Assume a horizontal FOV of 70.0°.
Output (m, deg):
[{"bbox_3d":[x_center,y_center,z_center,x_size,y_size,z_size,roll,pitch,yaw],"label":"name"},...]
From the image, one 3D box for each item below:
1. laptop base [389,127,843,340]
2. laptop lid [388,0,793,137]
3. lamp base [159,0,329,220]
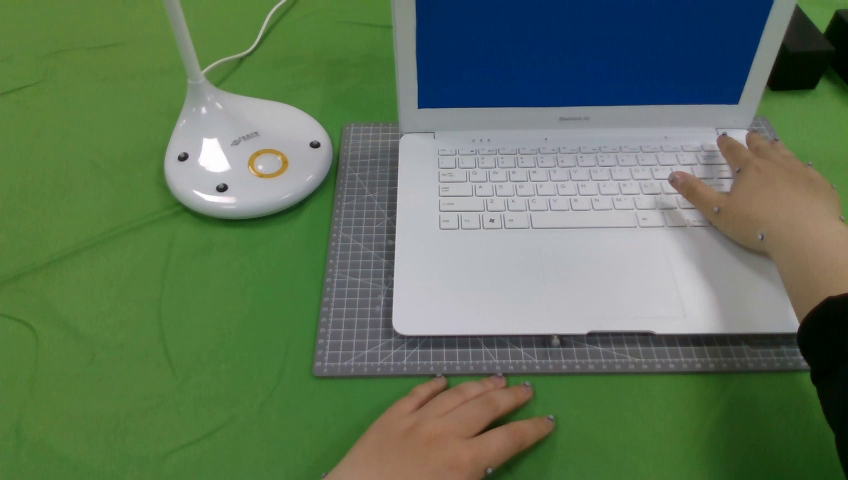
[{"bbox_3d":[0.148,-0.014,0.540,0.354,0.023,0.233,-1,53,0],"label":"laptop base"},{"bbox_3d":[0.145,-0.193,0.536,0.357,0.244,0.013,-2,42,1],"label":"laptop lid"},{"bbox_3d":[-0.185,-0.135,0.543,0.178,0.182,0.160,30,56,27],"label":"lamp base"}]
